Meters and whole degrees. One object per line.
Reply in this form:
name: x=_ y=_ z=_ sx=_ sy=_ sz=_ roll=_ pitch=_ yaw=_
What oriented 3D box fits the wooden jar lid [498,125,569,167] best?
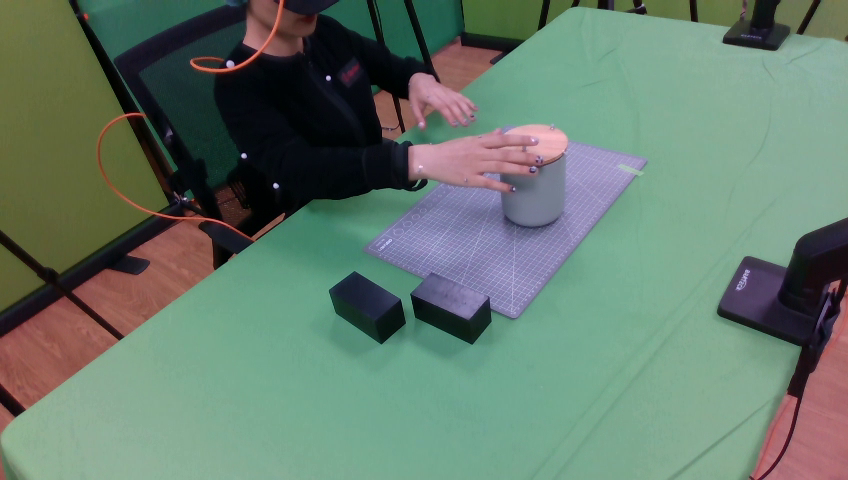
wooden jar lid: x=0.168 y=-0.142 z=0.933 sx=0.108 sy=0.021 sz=0.108 roll=-5 pitch=41 yaw=5

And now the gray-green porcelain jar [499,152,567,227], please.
gray-green porcelain jar: x=0.177 y=-0.093 z=0.974 sx=0.106 sy=0.127 sz=0.105 roll=-5 pitch=40 yaw=5
